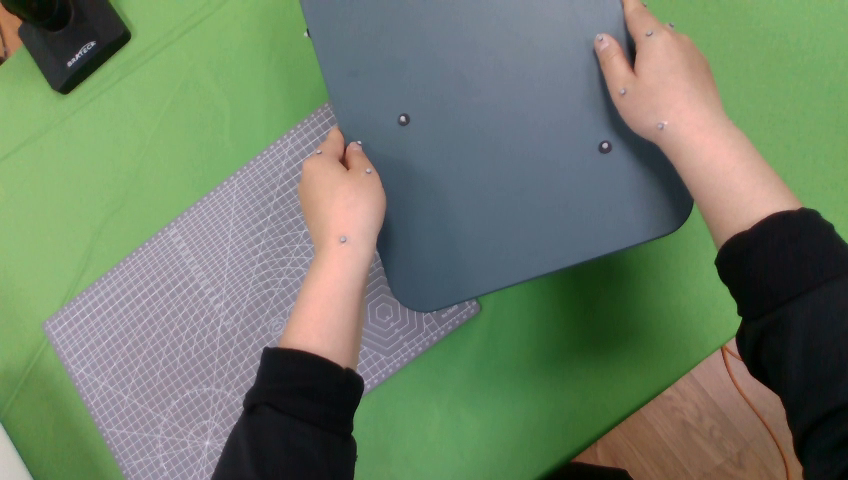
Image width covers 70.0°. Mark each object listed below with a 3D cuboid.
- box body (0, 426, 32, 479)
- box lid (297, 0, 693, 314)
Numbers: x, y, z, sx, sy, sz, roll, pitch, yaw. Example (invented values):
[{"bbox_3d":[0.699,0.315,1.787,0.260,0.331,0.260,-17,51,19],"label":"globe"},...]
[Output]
[{"bbox_3d":[-0.562,0.356,0.651,0.254,0.161,0.362,-39,79,4],"label":"box body"},{"bbox_3d":[0.044,-0.145,0.524,0.263,0.015,0.370,-20,83,10],"label":"box lid"}]
